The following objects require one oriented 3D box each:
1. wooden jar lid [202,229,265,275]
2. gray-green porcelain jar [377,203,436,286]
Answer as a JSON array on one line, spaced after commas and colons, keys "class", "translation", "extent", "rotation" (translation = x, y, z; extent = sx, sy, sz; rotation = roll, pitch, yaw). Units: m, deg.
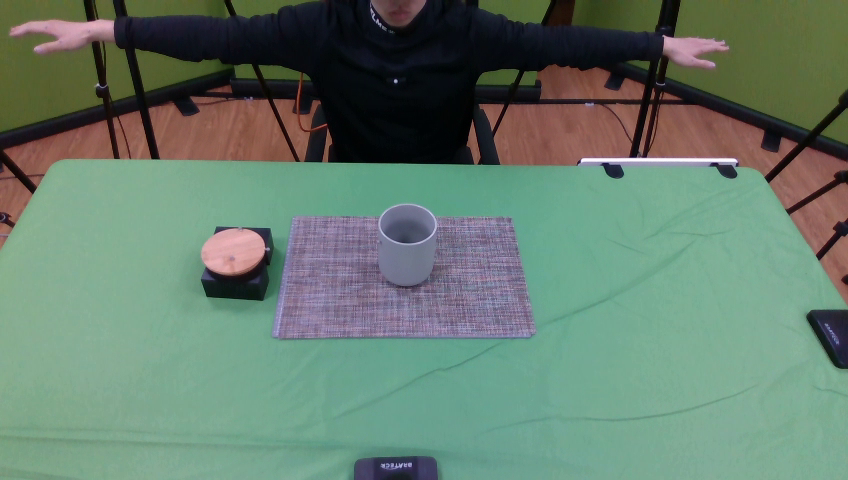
[{"class": "wooden jar lid", "translation": [-0.340, 0.023, 1.084], "extent": [0.108, 0.021, 0.107], "rotation": [3, 45, -2]}, {"class": "gray-green porcelain jar", "translation": [-0.033, 0.014, 1.106], "extent": [0.106, 0.127, 0.105], "rotation": [2, 46, -2]}]
